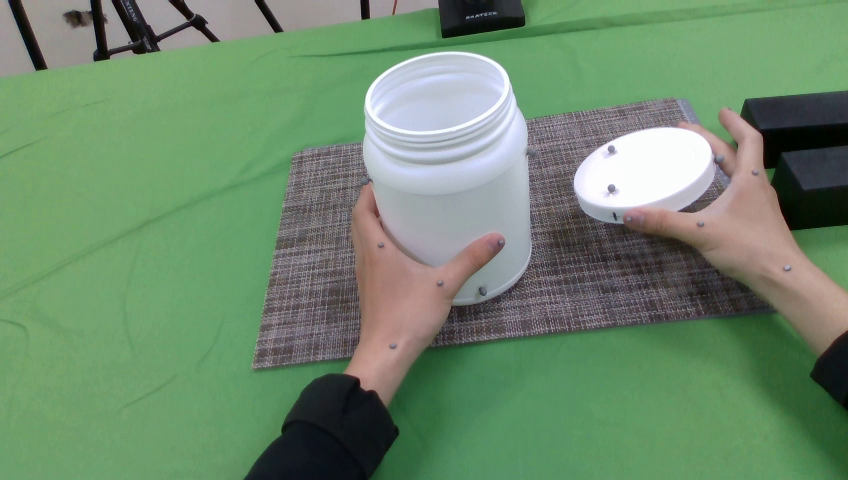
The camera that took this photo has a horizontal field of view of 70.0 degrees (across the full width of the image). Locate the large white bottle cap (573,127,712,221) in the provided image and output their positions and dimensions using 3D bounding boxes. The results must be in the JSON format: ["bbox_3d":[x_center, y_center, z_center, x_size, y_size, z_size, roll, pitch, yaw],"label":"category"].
[{"bbox_3d":[0.187,-0.059,0.526,0.114,0.018,0.113,-20,33,14],"label":"large white bottle cap"}]

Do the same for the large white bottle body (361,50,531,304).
[{"bbox_3d":[0.021,-0.049,0.508,0.130,0.186,0.129,-6,45,7],"label":"large white bottle body"}]
